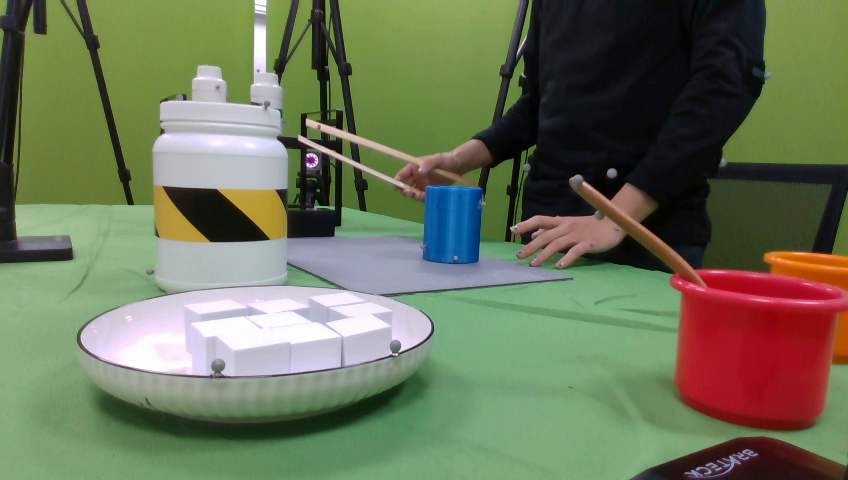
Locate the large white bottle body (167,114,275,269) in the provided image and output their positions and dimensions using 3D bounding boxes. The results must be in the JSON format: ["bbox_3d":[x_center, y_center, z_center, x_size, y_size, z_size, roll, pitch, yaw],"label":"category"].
[{"bbox_3d":[-0.256,-0.063,0.771,0.131,0.184,0.130,2,7,0],"label":"large white bottle body"}]

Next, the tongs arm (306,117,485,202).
[{"bbox_3d":[-0.042,-0.145,1.122,0.387,0.050,0.026,14,29,-26],"label":"tongs arm"}]

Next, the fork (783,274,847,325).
[{"bbox_3d":[0.332,0.018,0.443,0.028,0.018,0.207,-1,-36,-15],"label":"fork"}]

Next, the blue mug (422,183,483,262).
[{"bbox_3d":[0.032,-0.028,0.877,0.083,0.106,0.116,-2,8,-31],"label":"blue mug"}]

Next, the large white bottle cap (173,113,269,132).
[{"bbox_3d":[-0.254,-0.146,0.760,0.115,0.018,0.115,1,7,0],"label":"large white bottle cap"}]

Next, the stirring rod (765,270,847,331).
[{"bbox_3d":[0.352,0.020,0.484,0.176,0.006,0.014,-40,-7,13],"label":"stirring rod"}]

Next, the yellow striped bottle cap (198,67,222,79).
[{"bbox_3d":[-0.411,-0.320,1.163,0.044,0.018,0.044,1,6,0],"label":"yellow striped bottle cap"}]

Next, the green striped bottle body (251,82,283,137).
[{"bbox_3d":[-0.317,-0.270,1.220,0.063,0.119,0.063,2,7,0],"label":"green striped bottle body"}]

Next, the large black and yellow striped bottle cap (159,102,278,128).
[{"bbox_3d":[-0.207,-0.125,0.615,0.115,0.019,0.115,2,6,0],"label":"large black and yellow striped bottle cap"}]

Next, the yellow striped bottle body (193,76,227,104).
[{"bbox_3d":[-0.414,-0.268,1.169,0.063,0.120,0.063,2,7,0],"label":"yellow striped bottle body"}]

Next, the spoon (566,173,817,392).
[{"bbox_3d":[0.161,0.024,0.370,0.193,0.021,0.042,47,17,3],"label":"spoon"}]

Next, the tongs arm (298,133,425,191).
[{"bbox_3d":[-0.054,-0.127,1.131,0.390,0.028,0.027,18,23,-29],"label":"tongs arm"}]

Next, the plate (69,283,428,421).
[{"bbox_3d":[-0.102,0.066,0.381,0.208,0.039,0.207,2,7,0],"label":"plate"}]

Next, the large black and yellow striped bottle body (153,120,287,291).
[{"bbox_3d":[-0.208,-0.042,0.626,0.131,0.184,0.130,2,7,0],"label":"large black and yellow striped bottle body"}]

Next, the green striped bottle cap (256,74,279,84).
[{"bbox_3d":[-0.314,-0.322,1.214,0.044,0.020,0.044,1,8,0],"label":"green striped bottle cap"}]
